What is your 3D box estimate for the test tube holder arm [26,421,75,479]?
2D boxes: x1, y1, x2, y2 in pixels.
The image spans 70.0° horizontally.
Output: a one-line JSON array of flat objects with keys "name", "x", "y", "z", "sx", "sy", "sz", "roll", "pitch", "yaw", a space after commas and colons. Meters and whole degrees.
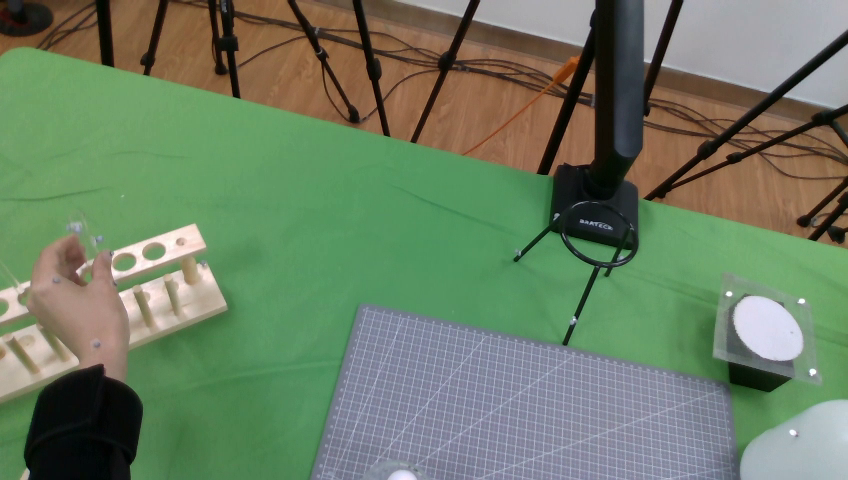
[{"name": "test tube holder arm", "x": -0.328, "y": 0.199, "z": 0.518, "sx": 0.010, "sy": 0.015, "sz": 0.087, "roll": 14, "pitch": 54, "yaw": 4}]

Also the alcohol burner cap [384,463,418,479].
[{"name": "alcohol burner cap", "x": -0.019, "y": 0.208, "z": 0.517, "sx": 0.034, "sy": 0.048, "sz": 0.033, "roll": 2, "pitch": 59, "yaw": -3}]

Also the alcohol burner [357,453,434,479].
[{"name": "alcohol burner", "x": -0.024, "y": 0.227, "z": 0.547, "sx": 0.078, "sy": 0.120, "sz": 0.077, "roll": 6, "pitch": 54, "yaw": -8}]

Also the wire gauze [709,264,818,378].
[{"name": "wire gauze", "x": 0.401, "y": 0.095, "z": 0.718, "sx": 0.121, "sy": 0.011, "sz": 0.124, "roll": 19, "pitch": 54, "yaw": 4}]

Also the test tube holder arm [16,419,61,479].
[{"name": "test tube holder arm", "x": -0.344, "y": 0.232, "z": 0.491, "sx": 0.013, "sy": 0.015, "sz": 0.177, "roll": 14, "pitch": 54, "yaw": 4}]

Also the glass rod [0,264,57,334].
[{"name": "glass rod", "x": -0.383, "y": 0.036, "z": 0.556, "sx": 0.008, "sy": 0.201, "sz": 0.008, "roll": 2, "pitch": 51, "yaw": -2}]

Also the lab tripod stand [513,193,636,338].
[{"name": "lab tripod stand", "x": 0.182, "y": 0.023, "z": 0.714, "sx": 0.149, "sy": 0.132, "sz": 0.147, "roll": 5, "pitch": 56, "yaw": -8}]

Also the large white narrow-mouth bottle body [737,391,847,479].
[{"name": "large white narrow-mouth bottle body", "x": 0.399, "y": 0.204, "z": 0.588, "sx": 0.102, "sy": 0.196, "sz": 0.101, "roll": 4, "pitch": 55, "yaw": -6}]

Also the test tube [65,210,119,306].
[{"name": "test tube", "x": -0.323, "y": 0.024, "z": 0.596, "sx": 0.017, "sy": 0.151, "sz": 0.017, "roll": 6, "pitch": 51, "yaw": -8}]

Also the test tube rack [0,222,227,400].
[{"name": "test tube rack", "x": -0.338, "y": 0.071, "z": 0.621, "sx": 0.243, "sy": 0.086, "sz": 0.066, "roll": -23, "pitch": 62, "yaw": -23}]

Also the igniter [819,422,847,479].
[{"name": "igniter", "x": 0.429, "y": 0.319, "z": 0.617, "sx": 0.057, "sy": 0.025, "sz": 0.274, "roll": 27, "pitch": 55, "yaw": -6}]
